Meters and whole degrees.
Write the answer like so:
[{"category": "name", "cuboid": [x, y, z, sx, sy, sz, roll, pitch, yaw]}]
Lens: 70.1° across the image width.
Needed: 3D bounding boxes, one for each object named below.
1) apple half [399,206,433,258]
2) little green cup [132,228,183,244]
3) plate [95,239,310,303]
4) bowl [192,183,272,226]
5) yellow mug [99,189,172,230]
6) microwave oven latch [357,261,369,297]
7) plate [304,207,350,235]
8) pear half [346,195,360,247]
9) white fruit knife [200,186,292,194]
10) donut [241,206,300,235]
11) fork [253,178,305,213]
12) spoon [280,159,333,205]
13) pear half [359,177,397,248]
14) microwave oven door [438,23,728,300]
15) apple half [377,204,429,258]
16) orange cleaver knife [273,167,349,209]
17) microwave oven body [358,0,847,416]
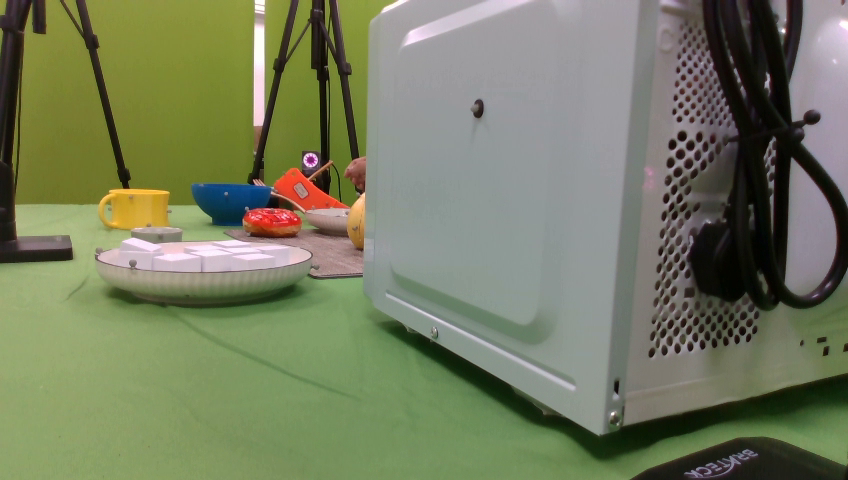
[{"category": "apple half", "cuboid": [-0.007, -0.012, 0.863, 0.033, 0.081, 0.081, -3, 9, -27]}, {"category": "little green cup", "cuboid": [-0.342, 0.006, 0.779, 0.061, 0.038, 0.061, 2, 8, 0]}, {"category": "plate", "cuboid": [-0.224, 0.031, 0.629, 0.208, 0.039, 0.207, 2, 7, 0]}, {"category": "bowl", "cuboid": [-0.381, -0.071, 1.202, 0.151, 0.077, 0.151, 3, 7, 0]}, {"category": "yellow mug", "cuboid": [-0.518, -0.055, 1.080, 0.099, 0.064, 0.131, 6, 9, 26]}, {"category": "microwave oven latch", "cuboid": [-0.019, 0.033, 0.531, 0.079, 0.029, 0.030, -1, 7, -27]}, {"category": "plate", "cuboid": [-0.123, -0.037, 1.149, 0.209, 0.038, 0.209, 2, 7, 0]}, {"category": "pear half", "cuboid": [-0.104, -0.033, 0.926, 0.031, 0.088, 0.070, 2, 12, -2]}, {"category": "white fruit knife", "cuboid": [-0.399, -0.111, 1.368, 0.208, 0.016, 0.027, -4, -19, -29]}, {"category": "donut", "cuboid": [-0.263, -0.032, 1.039, 0.099, 0.048, 0.099, 4, 10, 0]}, {"category": "fork", "cuboid": [-0.295, -0.084, 1.293, 0.206, 0.018, 0.028, 29, 10, 26]}, {"category": "spoon", "cuboid": [-0.316, -0.159, 1.639, 0.194, 0.022, 0.041, -49, 32, -20]}, {"category": "pear half", "cuboid": [-0.068, -0.041, 0.924, 0.056, 0.110, 0.076, 2, 11, -2]}, {"category": "microwave oven door", "cuboid": [0.181, -0.072, 0.621, 0.358, 0.243, 0.039, -2, 8, -29]}, {"category": "apple half", "cuboid": [-0.037, -0.012, 0.849, 0.053, 0.074, 0.080, -6, 18, -40]}, {"category": "orange cleaver knife", "cuboid": [-0.237, -0.087, 1.358, 0.211, 0.077, 0.012, 32, 4, -3]}, {"category": "microwave oven body", "cuboid": [0.211, -0.047, 0.474, 0.444, 0.260, 0.324, -1, 7, -28]}]
